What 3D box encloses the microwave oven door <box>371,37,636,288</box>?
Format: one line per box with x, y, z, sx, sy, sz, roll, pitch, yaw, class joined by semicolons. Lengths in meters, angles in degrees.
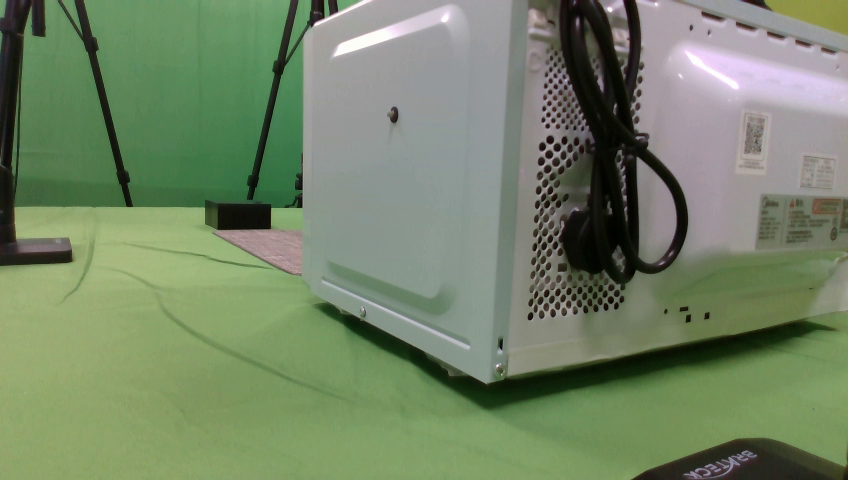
0.109;-0.080;0.687;0.358;0.243;0.039;-2;9;-33;microwave oven door

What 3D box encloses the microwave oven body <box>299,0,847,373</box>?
0.151;-0.055;0.542;0.444;0.260;0.324;-2;7;-33;microwave oven body

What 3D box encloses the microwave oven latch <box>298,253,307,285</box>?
-0.081;0.027;0.582;0.079;0.029;0.030;-1;7;-32;microwave oven latch
